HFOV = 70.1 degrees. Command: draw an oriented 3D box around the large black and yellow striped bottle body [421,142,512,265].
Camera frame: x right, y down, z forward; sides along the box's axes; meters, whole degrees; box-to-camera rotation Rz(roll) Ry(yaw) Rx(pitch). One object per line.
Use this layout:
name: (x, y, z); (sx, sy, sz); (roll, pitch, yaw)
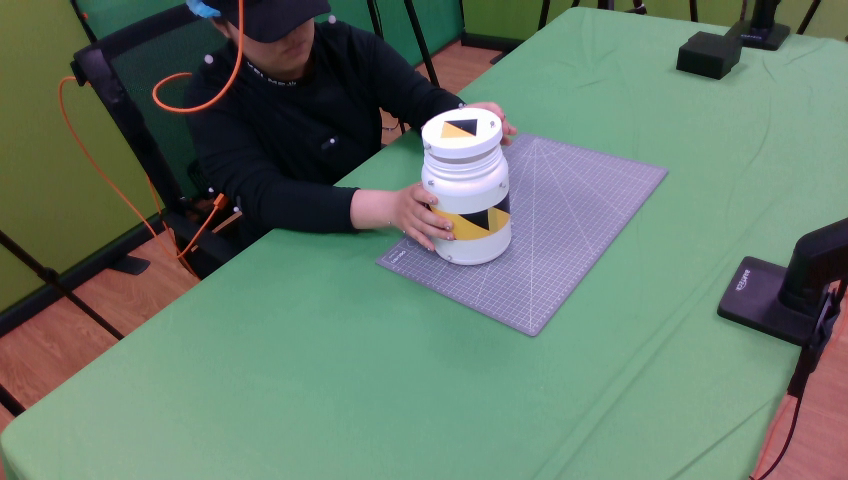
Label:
large black and yellow striped bottle body: (0.066, -0.068, 0.920); (0.131, 0.185, 0.130); (-5, 40, 5)

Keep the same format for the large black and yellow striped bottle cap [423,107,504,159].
large black and yellow striped bottle cap: (0.055, -0.153, 0.855); (0.115, 0.019, 0.114); (-8, 39, 7)
